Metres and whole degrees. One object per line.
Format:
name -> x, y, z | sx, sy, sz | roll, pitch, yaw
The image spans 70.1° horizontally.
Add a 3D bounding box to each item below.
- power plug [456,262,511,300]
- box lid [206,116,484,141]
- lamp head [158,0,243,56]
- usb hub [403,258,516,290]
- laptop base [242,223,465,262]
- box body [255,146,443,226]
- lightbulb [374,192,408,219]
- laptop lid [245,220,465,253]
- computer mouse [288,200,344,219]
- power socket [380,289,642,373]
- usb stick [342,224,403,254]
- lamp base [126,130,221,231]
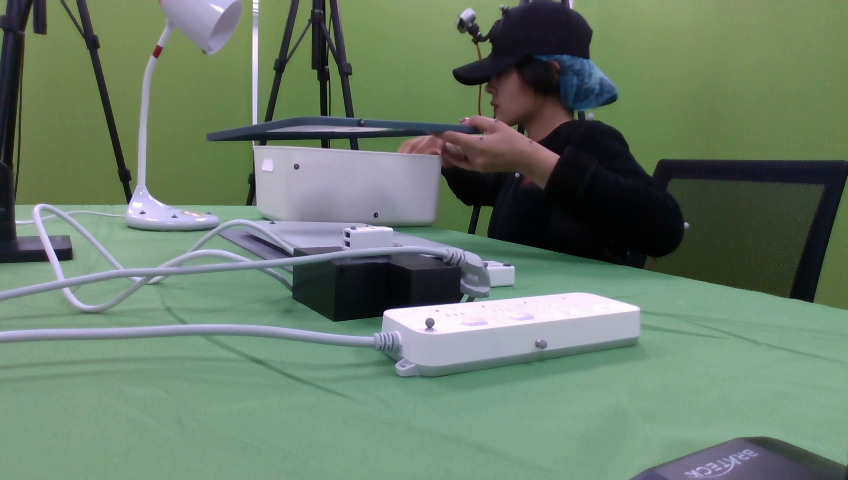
power plug -> 0.051, 0.050, 0.543 | 0.035, 0.052, 0.072 | 7, 37, -20
box lid -> -0.112, -0.168, 0.927 | 0.262, 0.015, 0.373 | 3, 10, 44
lamp head -> -0.399, -0.397, 1.057 | 0.123, 0.112, 0.112 | 27, 5, -7
usb hub -> 0.042, 0.038, 0.690 | 0.126, 0.025, 0.049 | -2, 9, -29
laptop base -> -0.126, 0.003, 0.946 | 0.237, 0.023, 0.352 | 2, 6, -31
box body -> -0.168, -0.121, 1.343 | 0.366, 0.160, 0.253 | -2, 8, -31
lightbulb -> -0.072, -0.074, 1.418 | 0.059, 0.059, 0.108 | 7, -11, 35
laptop lid -> -0.124, -0.009, 0.945 | 0.243, 0.013, 0.355 | 1, 7, -29
computer mouse -> -0.234, -0.064, 1.313 | 0.118, 0.041, 0.062 | 4, 3, -32
power socket -> 0.072, 0.064, 0.461 | 0.228, 0.032, 0.072 | -2, 8, -30
usb stick -> -0.047, -0.001, 0.567 | 0.059, 0.027, 0.021 | 0, 5, -32
lamp base -> -0.469, -0.112, 1.108 | 0.179, 0.180, 0.160 | 0, 7, 3
